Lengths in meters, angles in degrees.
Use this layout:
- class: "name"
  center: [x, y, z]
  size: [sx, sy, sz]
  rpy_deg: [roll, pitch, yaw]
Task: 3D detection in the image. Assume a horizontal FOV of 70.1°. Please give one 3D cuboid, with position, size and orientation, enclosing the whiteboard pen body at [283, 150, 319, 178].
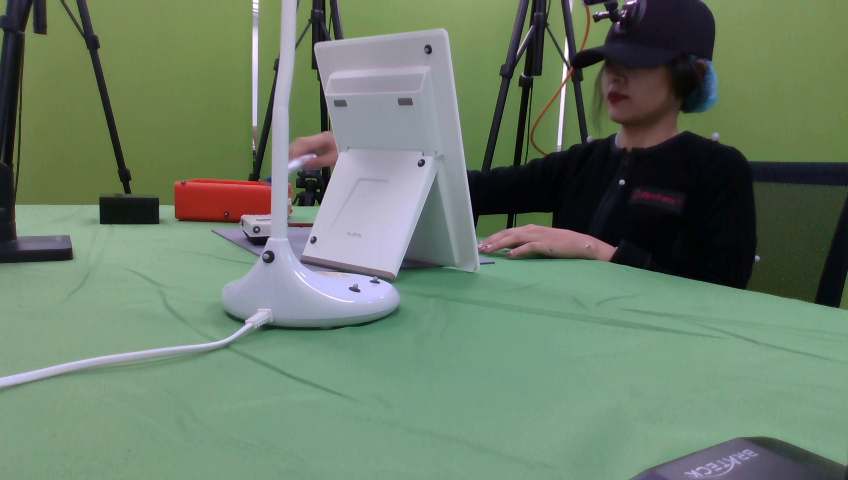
- class: "whiteboard pen body"
  center: [-0.218, -0.128, 1.042]
  size: [0.017, 0.017, 0.141]
  rpy_deg: [5, 27, 17]

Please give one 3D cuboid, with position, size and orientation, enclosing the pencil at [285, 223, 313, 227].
- class: "pencil"
  center: [-0.234, -0.030, 1.198]
  size: [0.195, 0.012, 0.012]
  rpy_deg: [0, 8, -20]

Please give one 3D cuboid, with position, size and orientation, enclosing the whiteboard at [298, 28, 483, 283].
- class: "whiteboard"
  center: [-0.075, -0.082, 0.741]
  size: [0.216, 0.305, 0.144]
  rpy_deg: [9, 30, 38]

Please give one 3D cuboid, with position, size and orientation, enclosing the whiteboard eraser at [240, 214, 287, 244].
- class: "whiteboard eraser"
  center: [-0.256, -0.018, 0.958]
  size: [0.056, 0.042, 0.112]
  rpy_deg: [0, 8, -25]

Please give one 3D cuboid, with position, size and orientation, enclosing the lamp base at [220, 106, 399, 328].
- class: "lamp base"
  center: [-0.102, -0.023, 0.531]
  size: [0.160, 0.180, 0.179]
  rpy_deg: [4, 10, 10]

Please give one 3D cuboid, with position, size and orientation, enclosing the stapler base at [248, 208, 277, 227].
- class: "stapler base"
  center: [-0.350, -0.053, 1.310]
  size: [0.041, 0.024, 0.130]
  rpy_deg: [1, 13, -4]

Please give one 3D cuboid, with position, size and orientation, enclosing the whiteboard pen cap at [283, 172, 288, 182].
- class: "whiteboard pen cap"
  center: [-0.237, -0.102, 0.994]
  size: [0.018, 0.018, 0.033]
  rpy_deg: [5, 28, 19]

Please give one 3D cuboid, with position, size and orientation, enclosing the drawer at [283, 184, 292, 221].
- class: "drawer"
  center: [-0.397, -0.086, 1.314]
  size: [0.212, 0.073, 0.194]
  rpy_deg: [1, 8, -9]

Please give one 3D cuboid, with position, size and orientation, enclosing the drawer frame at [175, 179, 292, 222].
- class: "drawer frame"
  center: [-0.402, -0.087, 1.311]
  size: [0.214, 0.082, 0.201]
  rpy_deg: [1, 8, -9]

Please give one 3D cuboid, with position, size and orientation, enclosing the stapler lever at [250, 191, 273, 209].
- class: "stapler lever"
  center: [-0.351, -0.086, 1.305]
  size: [0.027, 0.040, 0.118]
  rpy_deg: [1, 5, -4]
